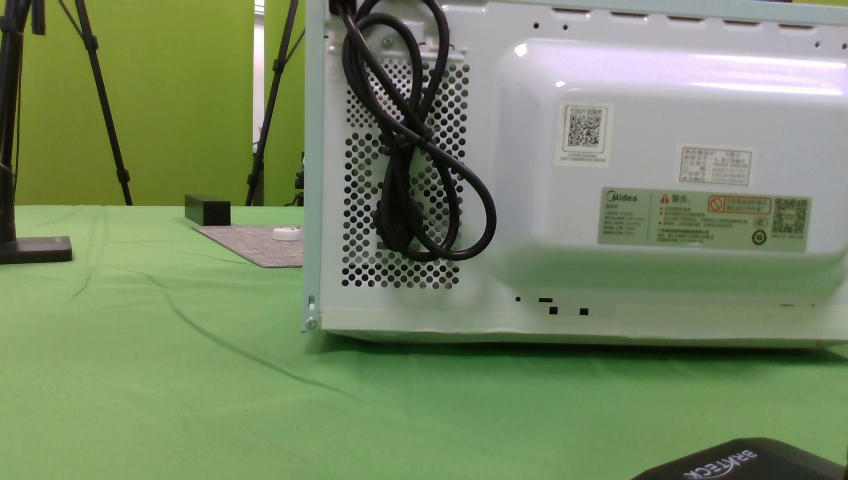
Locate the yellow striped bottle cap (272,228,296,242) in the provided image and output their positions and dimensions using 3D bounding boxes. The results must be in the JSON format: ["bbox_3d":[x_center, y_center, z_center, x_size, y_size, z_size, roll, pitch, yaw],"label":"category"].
[{"bbox_3d":[-0.232,-0.008,1.012,0.044,0.018,0.044,4,8,0],"label":"yellow striped bottle cap"}]

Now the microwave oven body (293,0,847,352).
[{"bbox_3d":[0.122,-0.055,0.550,0.442,0.260,0.325,3,7,-5],"label":"microwave oven body"}]

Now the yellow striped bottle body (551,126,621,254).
[{"bbox_3d":[0.157,-0.050,0.586,0.063,0.120,0.063,1,7,0],"label":"yellow striped bottle body"}]

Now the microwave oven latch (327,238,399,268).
[{"bbox_3d":[-0.069,0.015,0.694,0.079,0.029,0.030,3,7,-3],"label":"microwave oven latch"}]

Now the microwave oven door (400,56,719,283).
[{"bbox_3d":[0.155,-0.078,0.698,0.356,0.243,0.039,2,8,-5],"label":"microwave oven door"}]
